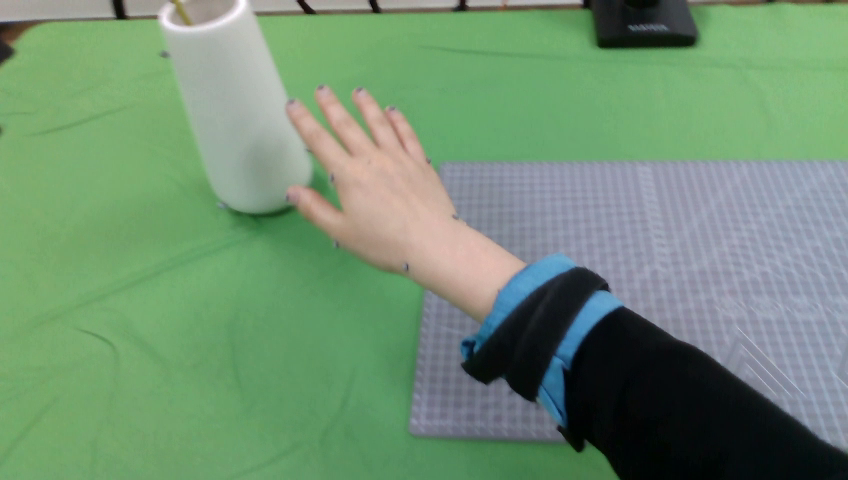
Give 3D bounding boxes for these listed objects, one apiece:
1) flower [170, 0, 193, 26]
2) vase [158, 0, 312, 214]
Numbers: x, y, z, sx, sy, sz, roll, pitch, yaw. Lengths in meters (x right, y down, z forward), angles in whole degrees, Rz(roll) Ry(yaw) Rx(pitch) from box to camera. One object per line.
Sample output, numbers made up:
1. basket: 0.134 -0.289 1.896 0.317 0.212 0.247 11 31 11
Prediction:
1. flower: -0.193 -0.175 0.493 0.038 0.365 0.044 19 57 42
2. vase: -0.165 -0.117 0.549 0.098 0.202 0.097 -2 48 3
